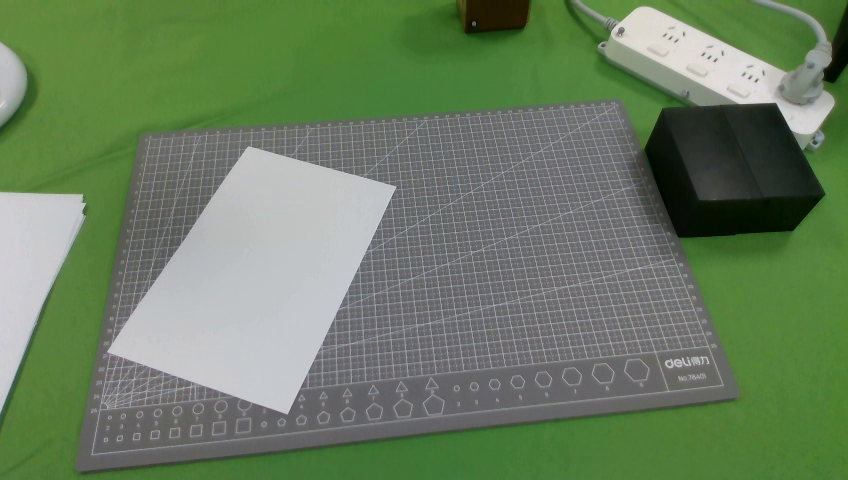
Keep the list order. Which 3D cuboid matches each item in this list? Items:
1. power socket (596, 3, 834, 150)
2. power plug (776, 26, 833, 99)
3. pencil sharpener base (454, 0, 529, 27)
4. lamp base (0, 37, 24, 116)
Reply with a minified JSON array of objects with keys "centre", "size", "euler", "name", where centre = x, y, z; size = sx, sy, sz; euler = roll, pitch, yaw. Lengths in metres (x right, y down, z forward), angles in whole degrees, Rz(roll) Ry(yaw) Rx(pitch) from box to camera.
[{"centre":[0.276,-0.162,0.583],"size":[0.225,0.033,0.072],"euler":[37,63,21],"name":"power socket"},{"centre":[0.351,-0.152,0.549],"size":[0.072,0.053,0.035],"euler":[-34,63,-20],"name":"power plug"},{"centre":[0.066,-0.277,0.610],"size":[0.077,0.108,0.061],"euler":[-8,57,-5],"name":"pencil sharpener base"},{"centre":[-0.465,-0.191,0.502],"size":[0.160,0.182,0.177],"euler":[-33,60,-20],"name":"lamp base"}]
